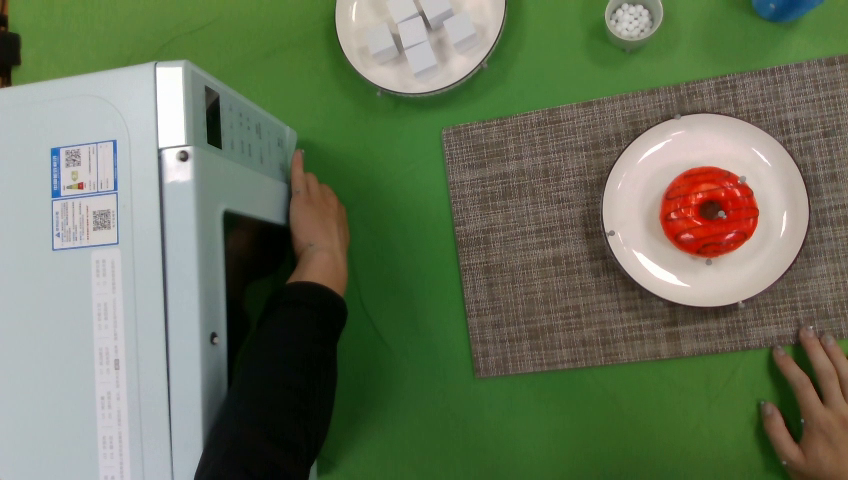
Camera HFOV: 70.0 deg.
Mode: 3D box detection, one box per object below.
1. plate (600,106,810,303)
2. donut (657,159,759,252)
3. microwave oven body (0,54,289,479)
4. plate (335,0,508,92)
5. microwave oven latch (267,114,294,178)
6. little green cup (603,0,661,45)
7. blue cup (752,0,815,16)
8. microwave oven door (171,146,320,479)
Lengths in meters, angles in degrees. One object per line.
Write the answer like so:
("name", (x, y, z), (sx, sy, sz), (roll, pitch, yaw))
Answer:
("plate", (0.295, -0.037, 0.651), (0.209, 0.038, 0.208), (-1, 87, 11))
("donut", (0.298, -0.036, 0.639), (0.099, 0.048, 0.099), (-1, 86, 14))
("microwave oven body", (-0.322, 0.076, 0.652), (0.325, 0.261, 0.440), (-6, 86, 10))
("plate", (-0.003, -0.277, 0.727), (0.207, 0.039, 0.207), (-1, 86, 11))
("microwave oven latch", (-0.180, -0.112, 0.733), (0.030, 0.029, 0.079), (14, 90, 11))
("little green cup", (0.231, -0.251, 0.680), (0.061, 0.039, 0.061), (-1, 86, 11))
("blue cup", (0.382, -0.279, 0.620), (0.092, 0.100, 0.092), (0, 88, 10))
("microwave oven door", (-0.172, 0.103, 0.615), (0.039, 0.244, 0.355), (-4, 85, 11))
